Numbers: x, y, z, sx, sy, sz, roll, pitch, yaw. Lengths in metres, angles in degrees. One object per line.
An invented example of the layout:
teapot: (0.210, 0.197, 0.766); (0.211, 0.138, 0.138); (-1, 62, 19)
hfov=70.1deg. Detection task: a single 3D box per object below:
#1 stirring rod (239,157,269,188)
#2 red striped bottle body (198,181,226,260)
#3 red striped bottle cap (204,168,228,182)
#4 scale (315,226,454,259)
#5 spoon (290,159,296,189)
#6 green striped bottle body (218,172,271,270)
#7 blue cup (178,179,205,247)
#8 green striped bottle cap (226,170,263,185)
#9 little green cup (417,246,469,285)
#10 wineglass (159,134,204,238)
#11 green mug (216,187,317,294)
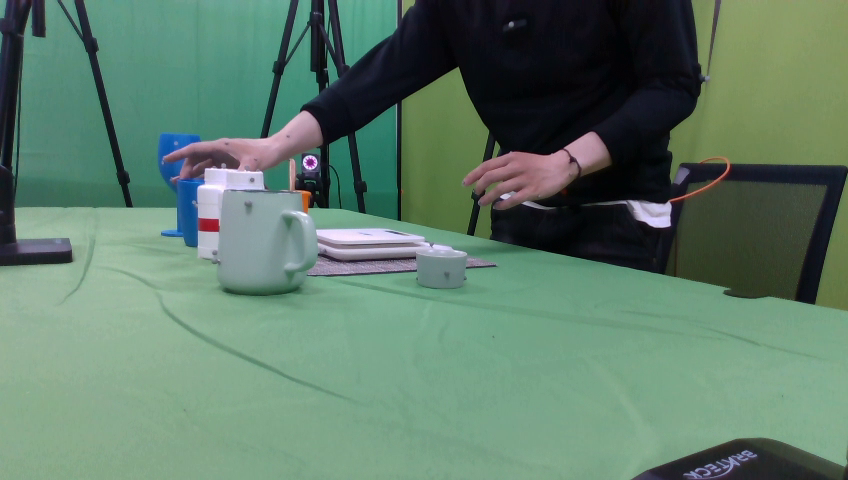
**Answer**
stirring rod: (-0.309, -0.098, 1.209); (0.006, 0.177, 0.014); (-39, 29, -4)
red striped bottle body: (-0.275, -0.035, 0.827); (0.063, 0.119, 0.063); (1, 6, 0)
red striped bottle cap: (-0.275, -0.088, 0.821); (0.044, 0.017, 0.044); (4, 7, 0)
scale: (-0.066, 0.001, 0.906); (0.202, 0.031, 0.148); (-2, 8, -31)
spoon: (-0.273, -0.102, 1.252); (0.042, 0.193, 0.021); (8, -39, -18)
green striped bottle body: (-0.223, -0.025, 0.755); (0.063, 0.119, 0.063); (1, 7, 0)
blue cup: (-0.334, -0.042, 0.935); (0.093, 0.100, 0.092); (2, 8, 0)
green striped bottle cap: (-0.222, -0.077, 0.748); (0.044, 0.020, 0.044); (1, 7, 0)
little green cup: (0.021, 0.029, 0.701); (0.061, 0.038, 0.061); (1, 6, 0)
wineglass: (-0.415, -0.093, 1.039); (0.074, 0.172, 0.073); (2, 8, 0)
green mug: (-0.157, 0.000, 0.629); (0.124, 0.105, 0.093); (7, 9, 37)
